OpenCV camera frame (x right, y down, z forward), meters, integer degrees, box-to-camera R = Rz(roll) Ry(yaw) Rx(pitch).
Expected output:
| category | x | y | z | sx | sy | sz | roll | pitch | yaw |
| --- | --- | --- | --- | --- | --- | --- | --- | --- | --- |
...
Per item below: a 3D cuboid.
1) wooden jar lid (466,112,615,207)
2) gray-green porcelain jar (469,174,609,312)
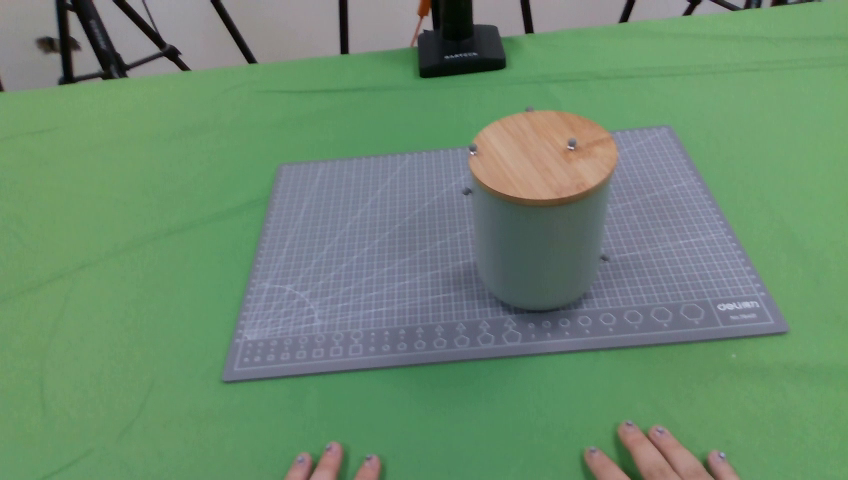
| category | x | y | z | sx | sy | sz | roll | pitch | yaw |
| --- | --- | --- | --- | --- | --- | --- | --- | --- | --- |
| wooden jar lid | 0.086 | -0.058 | 0.452 | 0.108 | 0.021 | 0.107 | -5 | 44 | 5 |
| gray-green porcelain jar | 0.092 | -0.012 | 0.494 | 0.106 | 0.128 | 0.105 | -4 | 43 | 4 |
